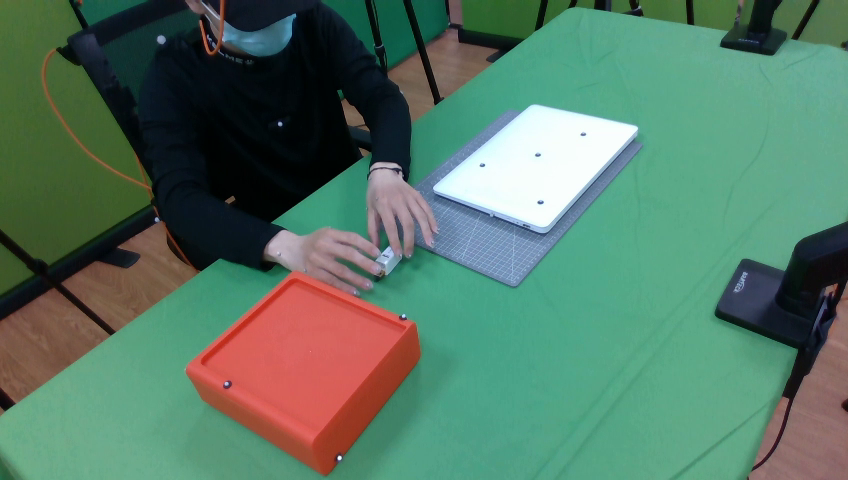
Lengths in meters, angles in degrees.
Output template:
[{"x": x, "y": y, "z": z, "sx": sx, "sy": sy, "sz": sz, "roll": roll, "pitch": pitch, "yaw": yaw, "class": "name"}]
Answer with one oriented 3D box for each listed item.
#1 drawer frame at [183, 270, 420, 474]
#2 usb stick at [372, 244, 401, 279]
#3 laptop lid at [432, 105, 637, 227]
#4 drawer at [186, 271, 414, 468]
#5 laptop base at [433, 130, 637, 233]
[{"x": -0.148, "y": 0.153, "z": 0.767, "sx": 0.212, "sy": 0.083, "sz": 0.202, "roll": 20, "pitch": 46, "yaw": 27, "class": "drawer frame"}, {"x": -0.061, "y": 0.035, "z": 0.938, "sx": 0.021, "sy": 0.027, "sz": 0.059, "roll": 18, "pitch": 51, "yaw": 27, "class": "usb stick"}, {"x": 0.207, "y": -0.152, "z": 1.105, "sx": 0.239, "sy": 0.013, "sz": 0.358, "roll": 23, "pitch": 49, "yaw": 34, "class": "laptop lid"}, {"x": -0.150, "y": 0.153, "z": 0.767, "sx": 0.210, "sy": 0.073, "sz": 0.195, "roll": 20, "pitch": 46, "yaw": 28, "class": "drawer"}, {"x": 0.210, "y": -0.142, "z": 1.111, "sx": 0.233, "sy": 0.023, "sz": 0.355, "roll": 21, "pitch": 47, "yaw": 34, "class": "laptop base"}]
